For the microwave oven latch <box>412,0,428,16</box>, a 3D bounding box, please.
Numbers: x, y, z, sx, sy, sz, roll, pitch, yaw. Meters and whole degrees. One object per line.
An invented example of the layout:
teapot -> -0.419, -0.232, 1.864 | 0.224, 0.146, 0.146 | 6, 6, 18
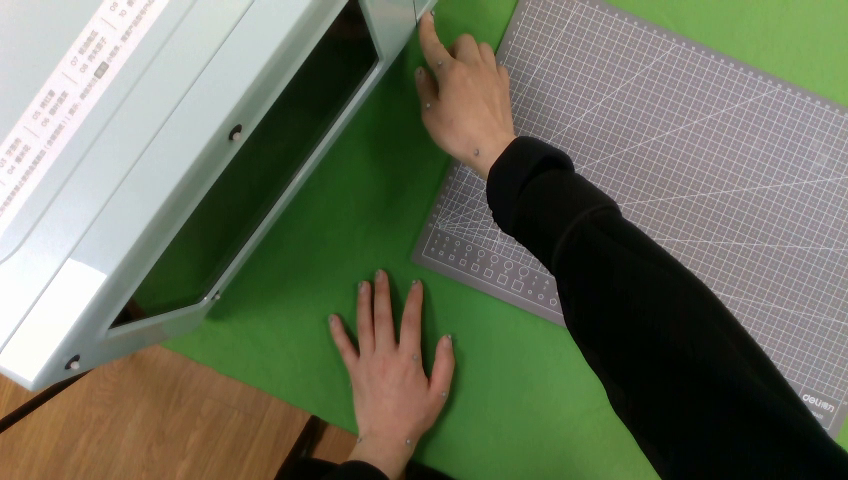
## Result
microwave oven latch -> 0.007, -0.245, 0.547 | 0.030, 0.029, 0.079 | 40, 93, -1

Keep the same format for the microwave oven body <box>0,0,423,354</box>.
microwave oven body -> -0.221, -0.190, 0.457 | 0.326, 0.260, 0.441 | 37, 93, -1

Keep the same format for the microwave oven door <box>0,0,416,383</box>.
microwave oven door -> -0.130, -0.068, 0.456 | 0.039, 0.243, 0.356 | 37, 92, 0
